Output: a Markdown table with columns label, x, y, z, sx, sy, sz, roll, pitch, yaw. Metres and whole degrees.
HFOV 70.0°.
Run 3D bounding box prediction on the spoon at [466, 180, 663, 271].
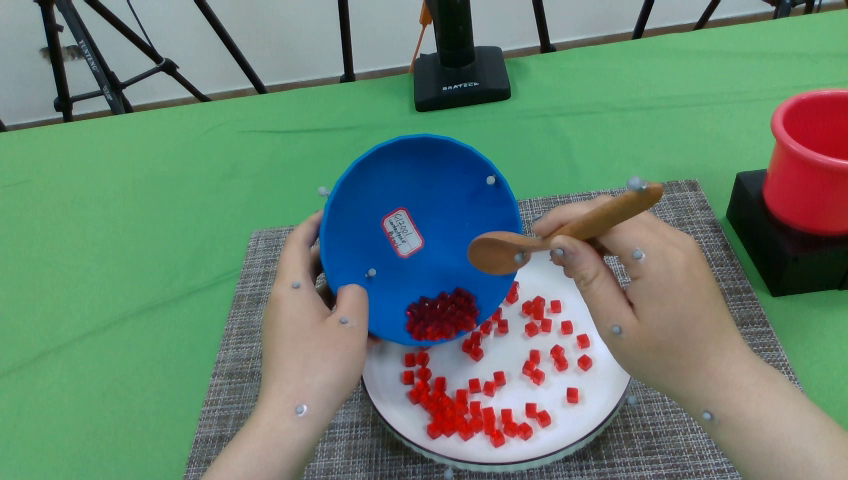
| label | x | y | z | sx | sy | sz | roll | pitch | yaw |
| --- | --- | --- | --- | --- | --- | --- | --- | --- | --- |
| spoon | 0.070 | -0.003 | 0.344 | 0.042 | 0.193 | 0.021 | 28 | 76 | -11 |

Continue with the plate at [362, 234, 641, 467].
| label | x | y | z | sx | sy | sz | roll | pitch | yaw |
| --- | --- | --- | --- | --- | --- | --- | --- | --- | --- |
| plate | 0.057 | 0.079 | 0.467 | 0.207 | 0.039 | 0.205 | -6 | 45 | 6 |

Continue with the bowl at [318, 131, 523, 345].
| label | x | y | z | sx | sy | sz | roll | pitch | yaw |
| --- | --- | --- | --- | --- | --- | --- | --- | --- | --- |
| bowl | -0.009 | -0.003 | 0.457 | 0.151 | 0.152 | 0.076 | -26 | 12 | -15 |
